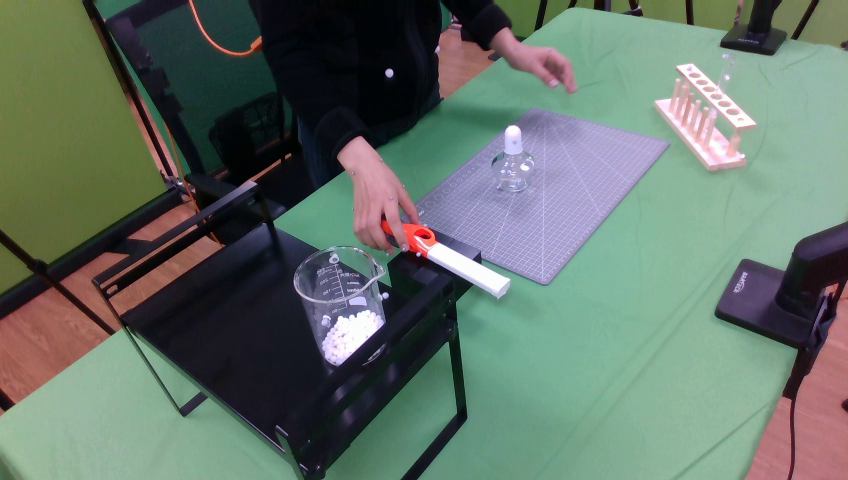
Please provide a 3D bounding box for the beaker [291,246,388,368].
[{"bbox_3d":[-0.073,0.066,0.572,0.084,0.101,0.073,-7,41,0],"label":"beaker"}]

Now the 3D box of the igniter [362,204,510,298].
[{"bbox_3d":[0.007,0.009,0.887,0.274,0.025,0.057,29,50,32],"label":"igniter"}]

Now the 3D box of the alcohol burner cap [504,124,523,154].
[{"bbox_3d":[0.151,-0.172,1.022,0.034,0.048,0.033,-4,36,3],"label":"alcohol burner cap"}]

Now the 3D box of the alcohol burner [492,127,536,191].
[{"bbox_3d":[0.156,-0.146,1.046,0.078,0.119,0.077,-4,43,4],"label":"alcohol burner"}]

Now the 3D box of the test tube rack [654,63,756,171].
[{"bbox_3d":[0.510,-0.234,1.120,0.067,0.085,0.241,-8,41,-1],"label":"test tube rack"}]

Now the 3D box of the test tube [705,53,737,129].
[{"bbox_3d":[0.526,-0.261,1.074,0.017,0.151,0.017,-2,44,2],"label":"test tube"}]
